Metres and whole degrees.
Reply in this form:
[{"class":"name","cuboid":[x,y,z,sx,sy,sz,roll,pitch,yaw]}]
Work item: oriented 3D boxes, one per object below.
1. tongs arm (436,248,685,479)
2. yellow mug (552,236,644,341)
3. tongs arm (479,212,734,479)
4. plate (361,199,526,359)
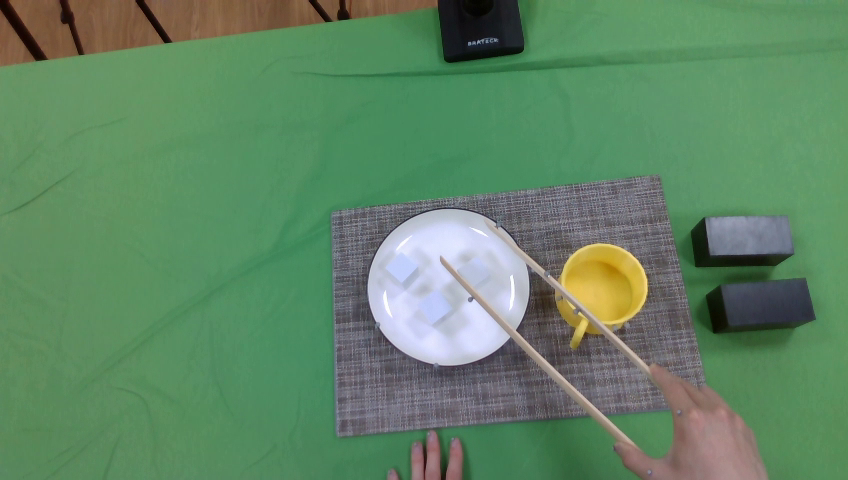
[{"class":"tongs arm","cuboid":[0.136,0.121,0.639,0.028,0.028,0.383,-39,55,-12]},{"class":"yellow mug","cuboid":[0.204,0.065,0.739,0.099,0.064,0.130,24,76,13]},{"class":"tongs arm","cuboid":[0.169,0.094,0.644,0.051,0.027,0.380,-40,55,-8]},{"class":"plate","cuboid":[0.025,0.051,0.775,0.207,0.039,0.206,-1,72,5]}]
